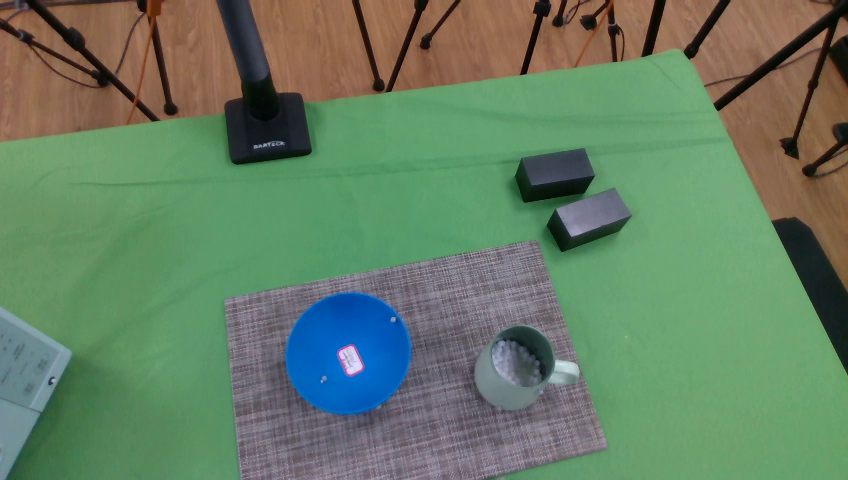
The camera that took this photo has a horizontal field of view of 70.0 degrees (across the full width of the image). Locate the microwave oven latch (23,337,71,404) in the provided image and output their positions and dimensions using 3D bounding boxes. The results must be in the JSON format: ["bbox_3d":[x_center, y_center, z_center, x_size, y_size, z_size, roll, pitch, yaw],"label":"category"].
[{"bbox_3d":[-0.459,0.155,0.731,0.030,0.030,0.078,17,65,3],"label":"microwave oven latch"}]

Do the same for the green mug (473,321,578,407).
[{"bbox_3d":[0.128,0.156,0.756,0.125,0.105,0.092,7,64,-1],"label":"green mug"}]

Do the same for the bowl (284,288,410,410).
[{"bbox_3d":[-0.094,0.144,0.759,0.151,0.077,0.150,2,64,-3],"label":"bowl"}]

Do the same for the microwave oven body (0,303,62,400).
[{"bbox_3d":[-0.642,0.227,0.575,0.326,0.262,0.439,15,65,2],"label":"microwave oven body"}]

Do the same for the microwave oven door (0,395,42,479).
[{"bbox_3d":[-0.511,0.300,0.546,0.039,0.245,0.353,15,65,4],"label":"microwave oven door"}]
